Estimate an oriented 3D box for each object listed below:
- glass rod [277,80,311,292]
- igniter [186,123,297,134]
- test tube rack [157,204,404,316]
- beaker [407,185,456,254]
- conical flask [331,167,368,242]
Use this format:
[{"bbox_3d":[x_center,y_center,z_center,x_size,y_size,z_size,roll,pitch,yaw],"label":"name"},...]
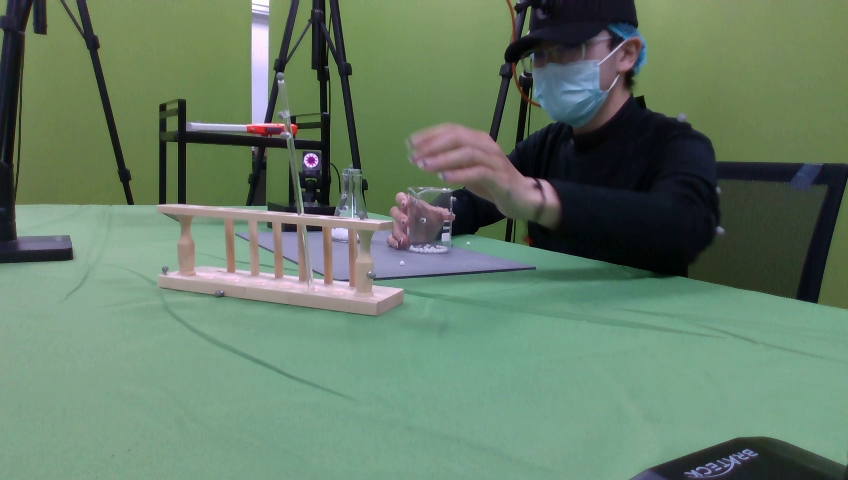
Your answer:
[{"bbox_3d":[-0.120,-0.046,0.558,0.008,0.199,0.008,-6,8,1],"label":"glass rod"},{"bbox_3d":[-0.392,-0.247,1.341,0.057,0.025,0.278,9,14,38],"label":"igniter"},{"bbox_3d":[-0.143,0.013,0.599,0.242,0.085,0.067,5,8,19],"label":"test tube rack"},{"bbox_3d":[0.008,-0.032,0.926,0.073,0.100,0.084,5,9,28],"label":"beaker"},{"bbox_3d":[-0.123,-0.061,1.019,0.075,0.122,0.075,2,7,0],"label":"conical flask"}]
